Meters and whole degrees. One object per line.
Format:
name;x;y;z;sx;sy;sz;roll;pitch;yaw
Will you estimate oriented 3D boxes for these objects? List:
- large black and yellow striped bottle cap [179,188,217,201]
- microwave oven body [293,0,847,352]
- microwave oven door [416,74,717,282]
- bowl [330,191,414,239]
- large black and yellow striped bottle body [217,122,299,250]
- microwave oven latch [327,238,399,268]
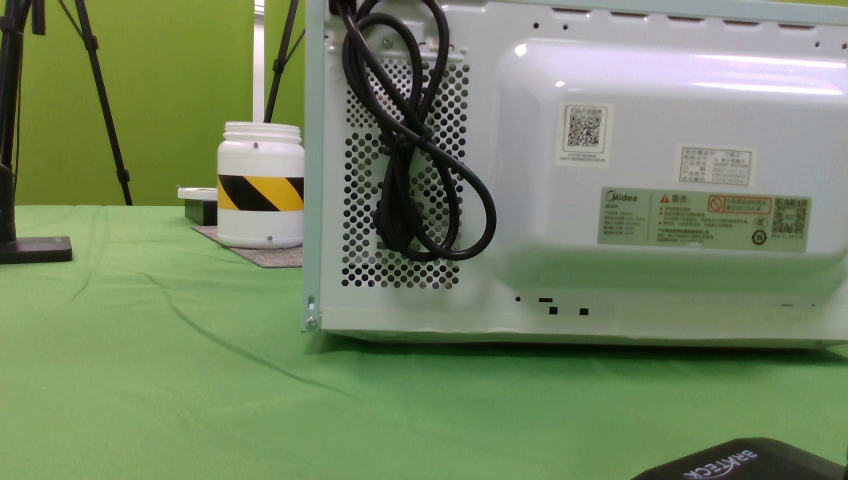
large black and yellow striped bottle cap;-0.434;-0.093;1.226;0.115;0.019;0.115;3;9;0
microwave oven body;0.122;-0.055;0.550;0.442;0.260;0.325;3;7;-5
microwave oven door;0.165;-0.086;0.767;0.355;0.243;0.039;5;8;19
bowl;-0.095;-0.044;1.096;0.151;0.077;0.151;3;8;0
large black and yellow striped bottle body;-0.250;-0.084;0.931;0.131;0.184;0.130;2;7;0
microwave oven latch;-0.069;0.015;0.694;0.079;0.029;0.030;3;7;-3
